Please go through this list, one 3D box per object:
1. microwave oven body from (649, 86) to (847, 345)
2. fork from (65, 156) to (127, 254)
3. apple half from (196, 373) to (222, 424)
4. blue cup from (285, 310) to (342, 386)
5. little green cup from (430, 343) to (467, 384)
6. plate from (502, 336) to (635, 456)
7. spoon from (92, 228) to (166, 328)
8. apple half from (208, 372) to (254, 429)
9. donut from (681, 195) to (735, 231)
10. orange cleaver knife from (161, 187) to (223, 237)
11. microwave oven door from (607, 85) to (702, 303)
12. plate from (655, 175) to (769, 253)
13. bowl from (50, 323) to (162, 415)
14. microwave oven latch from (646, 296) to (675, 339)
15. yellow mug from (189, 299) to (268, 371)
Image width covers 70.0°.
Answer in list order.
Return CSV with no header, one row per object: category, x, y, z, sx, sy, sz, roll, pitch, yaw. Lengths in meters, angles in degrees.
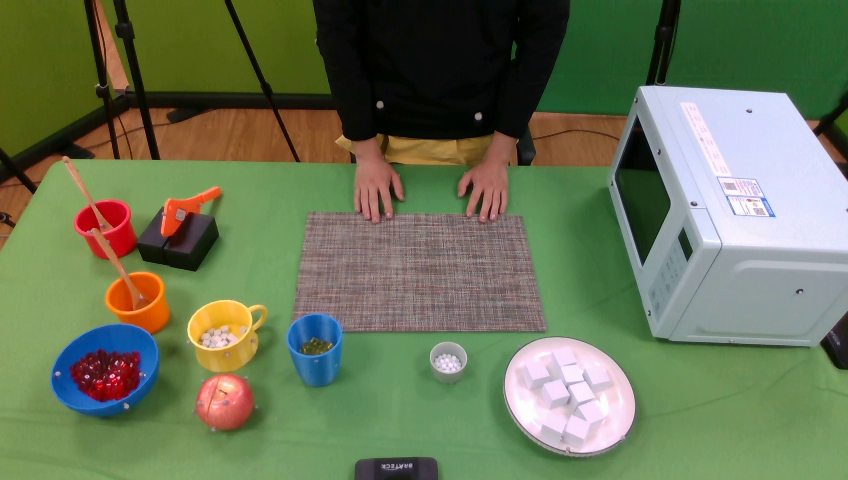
microwave oven body,0.568,-0.053,1.118,0.326,0.261,0.439,2,45,-1
fork,-0.614,-0.064,1.130,0.028,0.018,0.207,-29,97,-15
apple half,-0.322,0.239,0.907,0.033,0.081,0.081,7,46,-1
blue cup,-0.170,0.179,0.958,0.093,0.101,0.092,1,44,-1
little green cup,0.039,0.203,0.994,0.061,0.039,0.061,2,46,-2
plate,0.225,0.248,0.963,0.208,0.039,0.206,2,46,-2
spoon,-0.495,0.063,1.014,0.041,0.194,0.021,-34,12,-31
apple half,-0.283,0.244,0.908,0.053,0.075,0.080,7,42,-1
donut,0.551,-0.054,1.177,0.099,0.048,0.098,1,36,0
orange cleaver knife,-0.448,-0.058,1.180,0.012,0.077,0.211,13,17,6
microwave oven door,0.423,-0.094,1.141,0.039,0.245,0.353,2,46,-1
plate,0.555,-0.046,1.183,0.209,0.038,0.208,2,46,-1
bowl,-0.472,0.209,0.924,0.151,0.077,0.150,3,45,-2
microwave oven latch,0.412,0.134,1.061,0.030,0.029,0.078,4,45,1
yellow mug,-0.316,0.148,1.002,0.131,0.064,0.099,-32,56,-32
